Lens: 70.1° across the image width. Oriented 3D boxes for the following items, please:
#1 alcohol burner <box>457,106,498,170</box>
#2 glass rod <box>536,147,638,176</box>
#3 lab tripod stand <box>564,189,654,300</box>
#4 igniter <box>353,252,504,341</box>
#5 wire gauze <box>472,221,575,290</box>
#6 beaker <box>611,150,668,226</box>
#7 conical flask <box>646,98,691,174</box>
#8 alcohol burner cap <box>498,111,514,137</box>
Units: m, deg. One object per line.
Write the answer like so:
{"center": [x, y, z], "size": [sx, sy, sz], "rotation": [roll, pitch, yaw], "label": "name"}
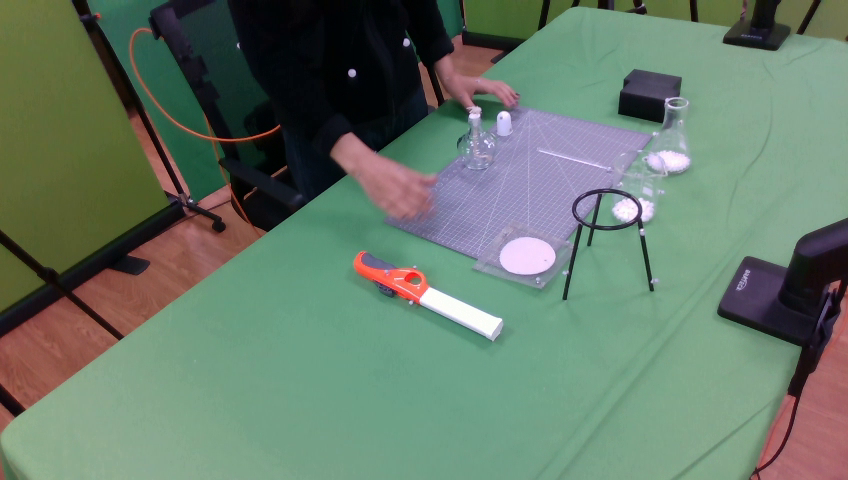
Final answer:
{"center": [0.097, -0.192, 1.117], "size": [0.078, 0.119, 0.077], "rotation": [-7, 39, 6], "label": "alcohol burner"}
{"center": [0.294, -0.145, 1.104], "size": [0.198, 0.008, 0.008], "rotation": [22, 50, 31], "label": "glass rod"}
{"center": [0.251, 0.003, 0.845], "size": [0.148, 0.132, 0.147], "rotation": [-7, 39, 6], "label": "lab tripod stand"}
{"center": [-0.005, 0.077, 0.889], "size": [0.274, 0.025, 0.057], "rotation": [23, 60, 33], "label": "igniter"}
{"center": [0.158, 0.024, 0.933], "size": [0.120, 0.011, 0.125], "rotation": [21, 49, 31], "label": "wire gauze"}
{"center": [0.337, -0.079, 0.953], "size": [0.083, 0.101, 0.074], "rotation": [25, 51, 33], "label": "beaker"}
{"center": [0.426, -0.180, 1.037], "size": [0.075, 0.122, 0.075], "rotation": [-5, 40, 5], "label": "conical flask"}
{"center": [0.163, -0.235, 1.211], "size": [0.034, 0.048, 0.033], "rotation": [-6, 41, 6], "label": "alcohol burner cap"}
